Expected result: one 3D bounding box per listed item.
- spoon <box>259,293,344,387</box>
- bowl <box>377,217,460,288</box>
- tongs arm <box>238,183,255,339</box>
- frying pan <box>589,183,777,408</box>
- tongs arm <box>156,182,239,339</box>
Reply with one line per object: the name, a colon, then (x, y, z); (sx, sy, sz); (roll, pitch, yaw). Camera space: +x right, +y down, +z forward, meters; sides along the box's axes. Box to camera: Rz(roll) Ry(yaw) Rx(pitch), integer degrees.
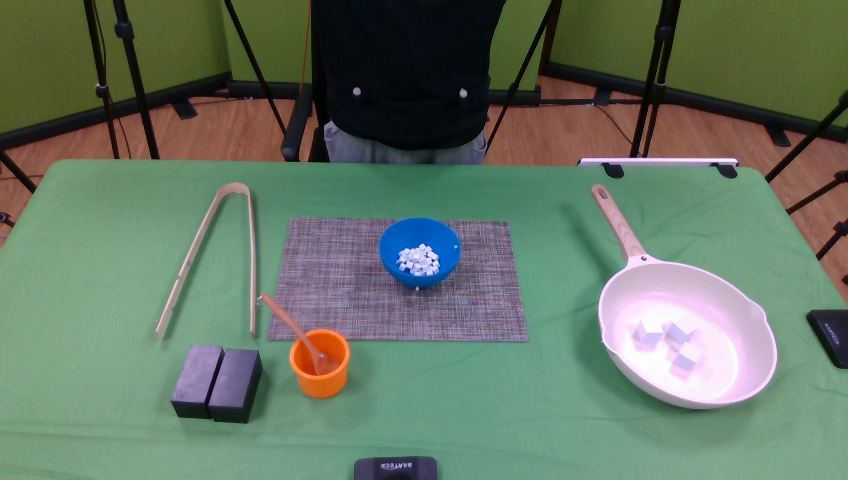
spoon: (-0.191, 0.155, 0.947); (0.021, 0.194, 0.041); (-12, 28, 51)
bowl: (-0.011, 0.036, 1.118); (0.151, 0.077, 0.150); (2, 46, -2)
tongs arm: (-0.334, 0.024, 1.144); (0.028, 0.028, 0.385); (-9, 48, -9)
frying pan: (0.412, 0.079, 1.096); (0.307, 0.103, 0.484); (-8, 56, -13)
tongs arm: (-0.415, 0.022, 1.134); (0.051, 0.026, 0.382); (3, 45, -2)
